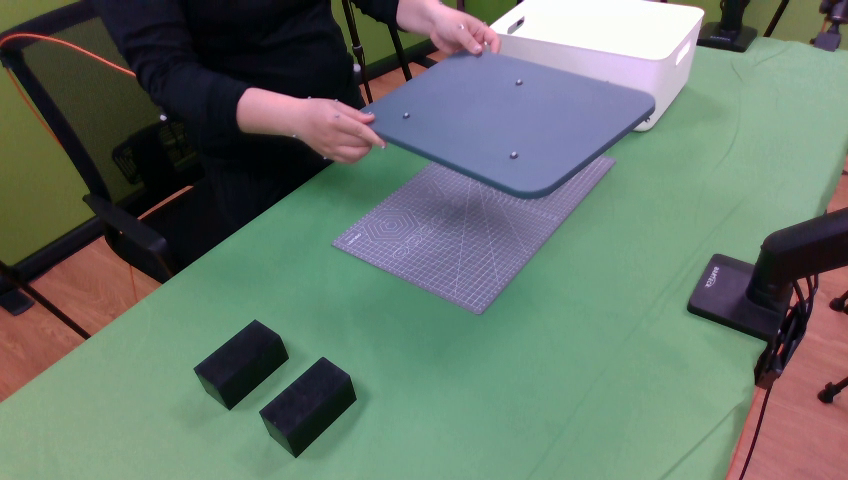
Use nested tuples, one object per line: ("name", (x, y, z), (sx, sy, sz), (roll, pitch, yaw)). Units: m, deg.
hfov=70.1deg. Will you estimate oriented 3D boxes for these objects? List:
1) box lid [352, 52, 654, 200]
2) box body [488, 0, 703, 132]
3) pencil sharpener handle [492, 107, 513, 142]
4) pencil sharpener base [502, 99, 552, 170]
("box lid", (0.097, -0.176, 0.843), (0.264, 0.015, 0.368), (-37, 44, -26))
("box body", (0.346, -0.374, 1.251), (0.361, 0.161, 0.255), (21, 48, 29))
("pencil sharpener handle", (0.141, -0.215, 1.113), (0.030, 0.068, 0.036), (22, 39, 31))
("pencil sharpener base", (0.184, -0.191, 1.096), (0.076, 0.107, 0.061), (22, 49, 31))
